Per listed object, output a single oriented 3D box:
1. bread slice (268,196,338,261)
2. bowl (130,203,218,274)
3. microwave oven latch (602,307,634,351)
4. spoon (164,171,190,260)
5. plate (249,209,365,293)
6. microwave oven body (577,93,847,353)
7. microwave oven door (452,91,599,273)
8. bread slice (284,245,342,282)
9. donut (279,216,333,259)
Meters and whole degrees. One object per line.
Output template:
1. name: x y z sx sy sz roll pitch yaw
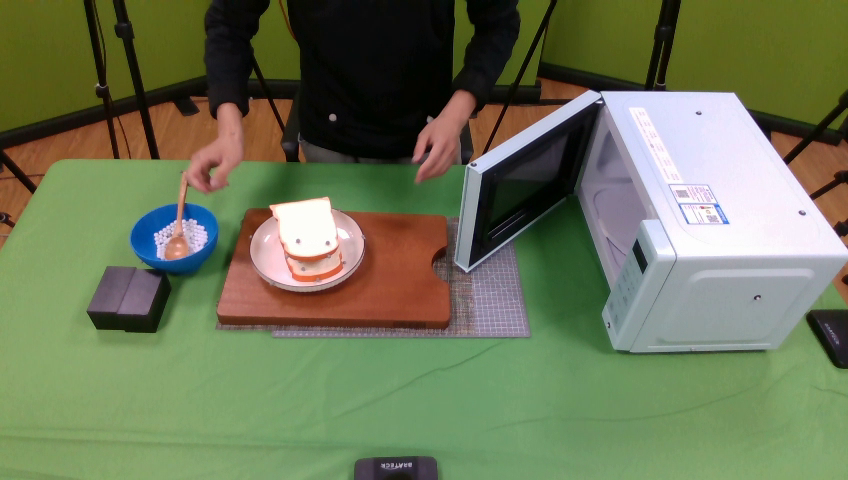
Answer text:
1. bread slice: -0.207 -0.020 1.071 0.107 0.018 0.133 -14 55 -18
2. bowl: -0.450 0.010 1.117 0.151 0.077 0.150 3 45 -3
3. microwave oven latch: 0.332 0.153 1.044 0.030 0.029 0.078 -1 45 -5
4. spoon: -0.452 -0.046 1.129 0.041 0.022 0.193 -1 68 -3
5. plate: -0.212 0.021 1.113 0.208 0.039 0.206 3 45 -2
6. microwave oven body: 0.475 -0.041 1.109 0.326 0.261 0.438 -1 45 -4
7. microwave oven door: 0.197 -0.115 1.152 0.356 0.245 0.039 -34 57 -31
8. bread slice: -0.205 0.024 1.115 0.105 0.019 0.130 -13 45 -14
9. donut: -0.213 -0.005 1.097 0.099 0.048 0.098 -1 41 1
